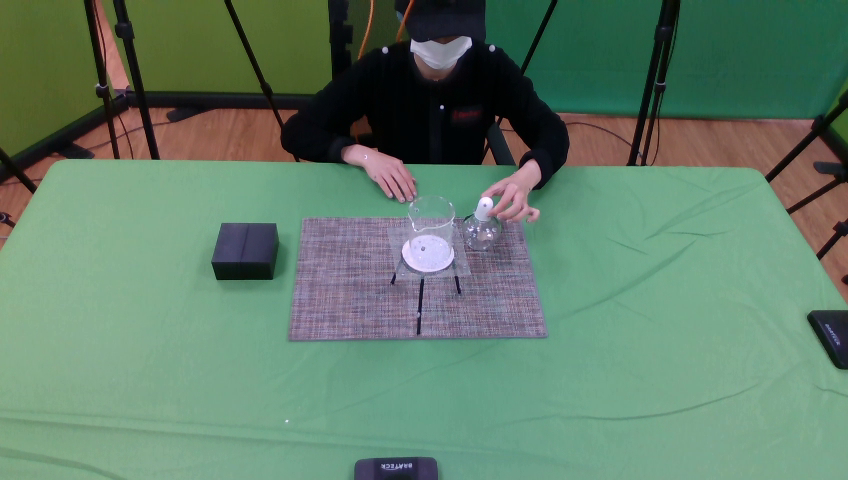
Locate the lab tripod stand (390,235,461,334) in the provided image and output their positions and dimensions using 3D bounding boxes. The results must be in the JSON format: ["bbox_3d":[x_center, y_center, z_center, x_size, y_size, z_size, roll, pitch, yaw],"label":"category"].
[{"bbox_3d":[-0.002,0.067,1.050,0.148,0.132,0.147,1,47,-1],"label":"lab tripod stand"}]

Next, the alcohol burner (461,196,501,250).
[{"bbox_3d":[0.112,-0.037,1.173,0.078,0.120,0.077,1,45,0],"label":"alcohol burner"}]

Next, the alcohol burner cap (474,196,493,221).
[{"bbox_3d":[0.116,-0.062,1.147,0.034,0.048,0.033,4,50,-5],"label":"alcohol burner cap"}]

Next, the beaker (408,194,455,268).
[{"bbox_3d":[0.009,-0.010,0.965,0.074,0.101,0.084,23,50,20],"label":"beaker"}]

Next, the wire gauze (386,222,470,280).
[{"bbox_3d":[0.005,0.018,1.006,0.125,0.011,0.120,-7,45,-5],"label":"wire gauze"}]
